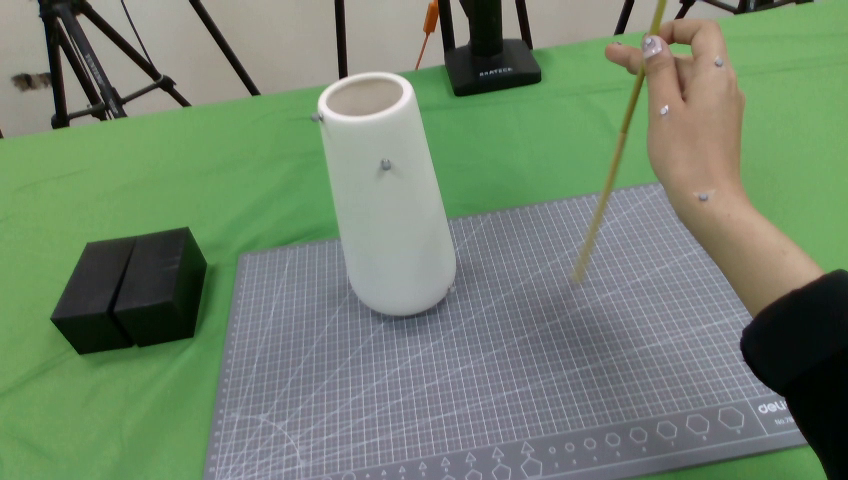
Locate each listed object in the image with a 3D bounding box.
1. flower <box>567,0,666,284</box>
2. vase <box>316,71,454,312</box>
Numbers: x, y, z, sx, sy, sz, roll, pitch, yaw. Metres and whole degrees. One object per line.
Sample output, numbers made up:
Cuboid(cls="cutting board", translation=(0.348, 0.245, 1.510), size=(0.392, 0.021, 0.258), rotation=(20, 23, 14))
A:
Cuboid(cls="flower", translation=(0.151, -0.112, 0.431), size=(0.044, 0.364, 0.038), rotation=(-10, 38, -26))
Cuboid(cls="vase", translation=(-0.032, -0.032, 0.497), size=(0.098, 0.202, 0.097), rotation=(-6, 42, 6))
